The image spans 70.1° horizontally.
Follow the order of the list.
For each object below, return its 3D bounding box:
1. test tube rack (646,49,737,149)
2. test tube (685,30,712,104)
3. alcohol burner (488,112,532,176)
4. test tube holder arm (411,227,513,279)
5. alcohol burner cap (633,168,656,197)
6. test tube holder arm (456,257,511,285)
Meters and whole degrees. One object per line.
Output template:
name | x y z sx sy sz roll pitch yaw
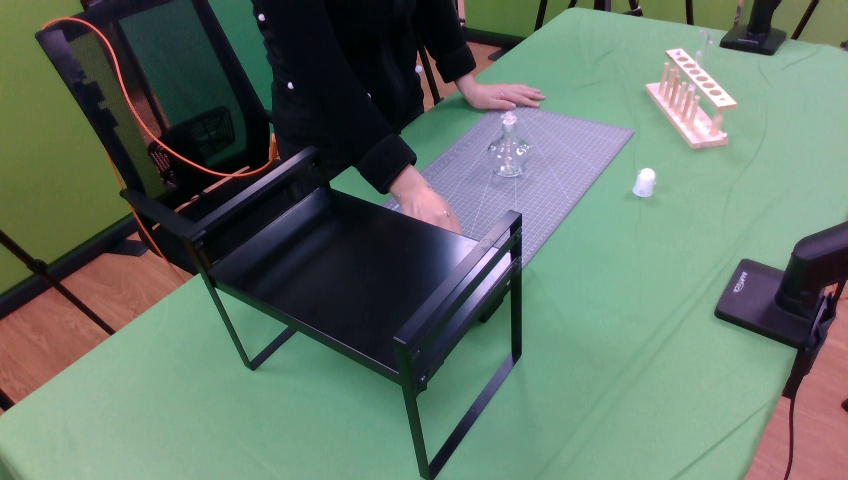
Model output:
test tube rack | 0.511 -0.280 1.175 0.067 0.085 0.241 -8 41 0
test tube | 0.521 -0.325 1.150 0.017 0.151 0.017 -3 45 3
alcohol burner | 0.154 -0.176 1.084 0.078 0.119 0.077 -3 41 3
test tube holder arm | 0.051 0.017 0.870 0.177 0.015 0.013 27 85 33
alcohol burner cap | 0.374 -0.099 1.018 0.034 0.048 0.033 0 41 1
test tube holder arm | 0.082 0.039 0.845 0.087 0.015 0.010 28 85 33
